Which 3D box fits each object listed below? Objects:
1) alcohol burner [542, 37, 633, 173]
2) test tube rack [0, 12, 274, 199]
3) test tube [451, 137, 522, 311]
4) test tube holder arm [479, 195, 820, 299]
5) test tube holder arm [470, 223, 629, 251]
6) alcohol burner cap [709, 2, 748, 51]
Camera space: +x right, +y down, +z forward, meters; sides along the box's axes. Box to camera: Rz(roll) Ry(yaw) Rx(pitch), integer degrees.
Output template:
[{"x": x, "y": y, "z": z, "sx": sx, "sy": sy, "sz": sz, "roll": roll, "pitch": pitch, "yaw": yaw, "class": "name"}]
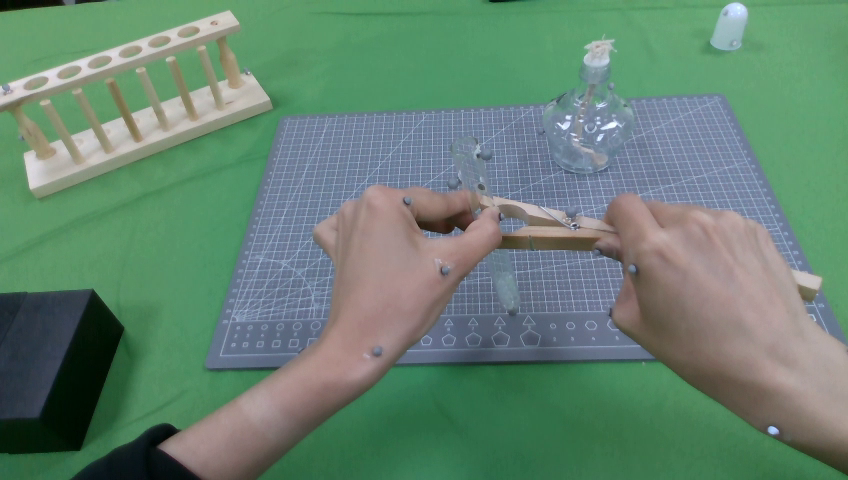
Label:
[{"x": 0.142, "y": -0.117, "z": 0.517, "sx": 0.078, "sy": 0.120, "sz": 0.077, "roll": -3, "pitch": 47, "yaw": 3, "class": "alcohol burner"}, {"x": -0.284, "y": -0.138, "z": 0.603, "sx": 0.242, "sy": 0.086, "sz": 0.066, "roll": -26, "pitch": 51, "yaw": -16, "class": "test tube rack"}, {"x": 0.041, "y": -0.002, "z": 0.369, "sx": 0.017, "sy": 0.152, "sz": 0.017, "roll": -10, "pitch": 48, "yaw": 12, "class": "test tube"}, {"x": 0.112, "y": 0.001, "z": 0.328, "sx": 0.177, "sy": 0.015, "sz": 0.013, "roll": 15, "pitch": 63, "yaw": 25, "class": "test tube holder arm"}, {"x": 0.070, "y": -0.001, "z": 0.342, "sx": 0.087, "sy": 0.015, "sz": 0.010, "roll": -1, "pitch": 56, "yaw": 16, "class": "test tube holder arm"}, {"x": 0.330, "y": -0.231, "z": 0.651, "sx": 0.034, "sy": 0.048, "sz": 0.033, "roll": -4, "pitch": 49, "yaw": 5, "class": "alcohol burner cap"}]
